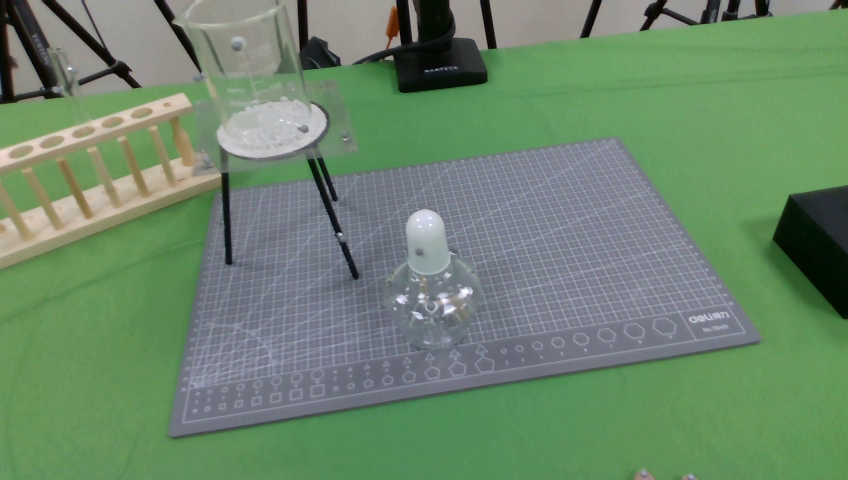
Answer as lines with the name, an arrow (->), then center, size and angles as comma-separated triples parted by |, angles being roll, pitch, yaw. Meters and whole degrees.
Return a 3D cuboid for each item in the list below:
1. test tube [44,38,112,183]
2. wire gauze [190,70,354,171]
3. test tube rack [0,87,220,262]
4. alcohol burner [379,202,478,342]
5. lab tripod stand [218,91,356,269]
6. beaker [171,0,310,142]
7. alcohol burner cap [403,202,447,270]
test tube -> -0.339, -0.122, 0.599 | 0.017, 0.151, 0.017 | 0, 36, 1
wire gauze -> -0.126, -0.097, 0.489 | 0.125, 0.011, 0.120 | -14, 41, -6
test tube rack -> -0.343, -0.068, 0.614 | 0.242, 0.086, 0.066 | -25, 46, -21
alcohol burner -> 0.003, 0.021, 0.460 | 0.078, 0.120, 0.077 | -2, 41, 3
lab tripod stand -> -0.121, -0.050, 0.533 | 0.148, 0.133, 0.147 | -3, 44, 3
beaker -> -0.132, -0.131, 0.453 | 0.084, 0.101, 0.073 | -7, 42, 0
alcohol burner cap -> -0.001, -0.005, 0.435 | 0.034, 0.048, 0.033 | -3, 45, 4
